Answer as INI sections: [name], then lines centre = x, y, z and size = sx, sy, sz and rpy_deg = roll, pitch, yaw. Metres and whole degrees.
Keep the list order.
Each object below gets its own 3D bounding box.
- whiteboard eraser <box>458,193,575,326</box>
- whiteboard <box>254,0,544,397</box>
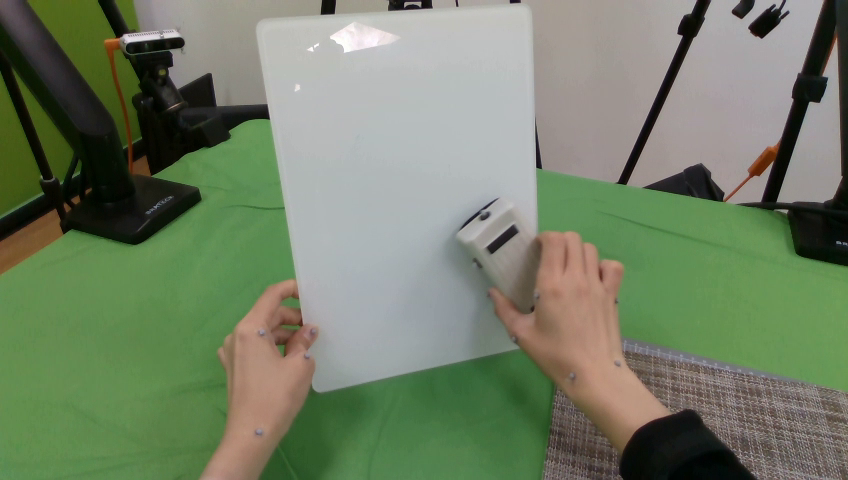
[whiteboard eraser]
centre = 0.080, 0.018, 0.520
size = 0.055, 0.113, 0.041
rpy_deg = -41, 24, -7
[whiteboard]
centre = -0.022, -0.046, 0.562
size = 0.218, 0.307, 0.142
rpy_deg = -9, 17, -14
